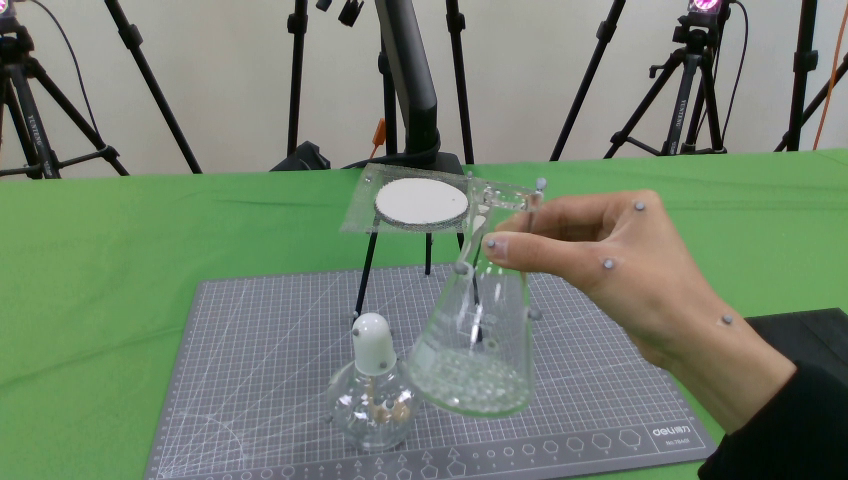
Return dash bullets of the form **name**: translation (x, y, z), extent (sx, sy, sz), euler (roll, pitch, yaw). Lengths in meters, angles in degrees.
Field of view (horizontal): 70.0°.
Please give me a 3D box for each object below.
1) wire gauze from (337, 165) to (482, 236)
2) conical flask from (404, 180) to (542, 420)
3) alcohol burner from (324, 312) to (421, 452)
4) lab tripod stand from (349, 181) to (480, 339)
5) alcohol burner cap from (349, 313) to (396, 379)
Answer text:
- **wire gauze**: translation (-0.008, -0.037, 0.557), extent (0.121, 0.011, 0.124), euler (5, 33, 4)
- **conical flask**: translation (0.033, 0.030, 0.334), extent (0.075, 0.122, 0.075), euler (9, 14, -2)
- **alcohol burner**: translation (-0.041, 0.106, 0.474), extent (0.078, 0.120, 0.077), euler (1, 31, 0)
- **lab tripod stand**: translation (-0.002, 0.020, 0.593), extent (0.148, 0.132, 0.147), euler (3, 32, -1)
- **alcohol burner cap**: translation (-0.040, 0.077, 0.453), extent (0.034, 0.048, 0.033), euler (-4, 36, 3)
